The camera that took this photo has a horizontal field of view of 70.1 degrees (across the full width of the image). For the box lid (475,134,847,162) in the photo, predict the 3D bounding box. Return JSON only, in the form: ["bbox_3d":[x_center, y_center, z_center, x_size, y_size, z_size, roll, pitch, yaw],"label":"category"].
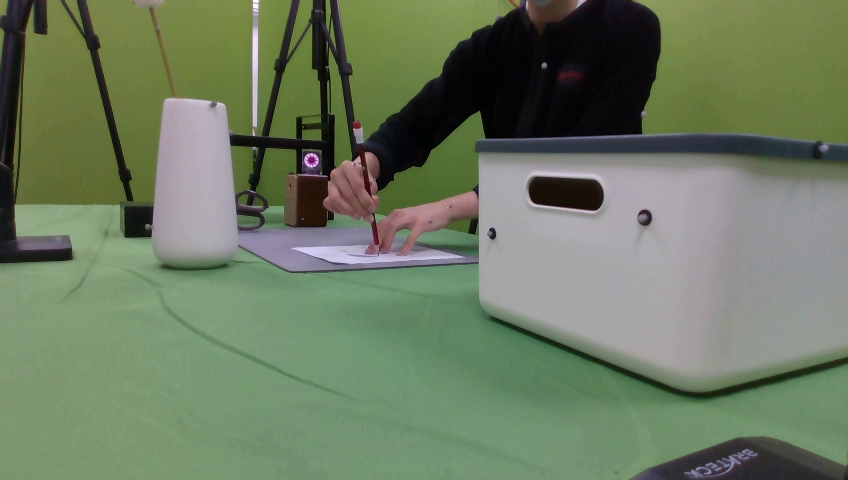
[{"bbox_3d":[0.256,-0.073,0.528,0.373,0.015,0.262,-2,8,-31],"label":"box lid"}]

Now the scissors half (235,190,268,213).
[{"bbox_3d":[-0.363,-0.070,1.060,0.176,0.040,0.013,0,16,-23],"label":"scissors half"}]

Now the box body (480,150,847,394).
[{"bbox_3d":[0.254,0.002,0.539,0.366,0.160,0.253,-2,8,-31],"label":"box body"}]

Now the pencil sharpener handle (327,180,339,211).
[{"bbox_3d":[-0.194,-0.094,1.256,0.031,0.067,0.036,-2,-6,-36],"label":"pencil sharpener handle"}]

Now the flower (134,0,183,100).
[{"bbox_3d":[-0.282,-0.147,0.713,0.038,0.362,0.044,-23,24,-31],"label":"flower"}]

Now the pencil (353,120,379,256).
[{"bbox_3d":[-0.076,-0.067,0.825,0.012,0.194,0.012,-6,21,3],"label":"pencil"}]

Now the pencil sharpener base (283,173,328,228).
[{"bbox_3d":[-0.239,-0.081,1.231,0.077,0.107,0.061,-2,8,-36],"label":"pencil sharpener base"}]

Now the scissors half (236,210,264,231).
[{"bbox_3d":[-0.369,-0.051,1.065,0.176,0.040,0.012,19,14,-27],"label":"scissors half"}]

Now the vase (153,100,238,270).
[{"bbox_3d":[-0.278,-0.066,0.736,0.098,0.200,0.098,2,9,0],"label":"vase"}]
